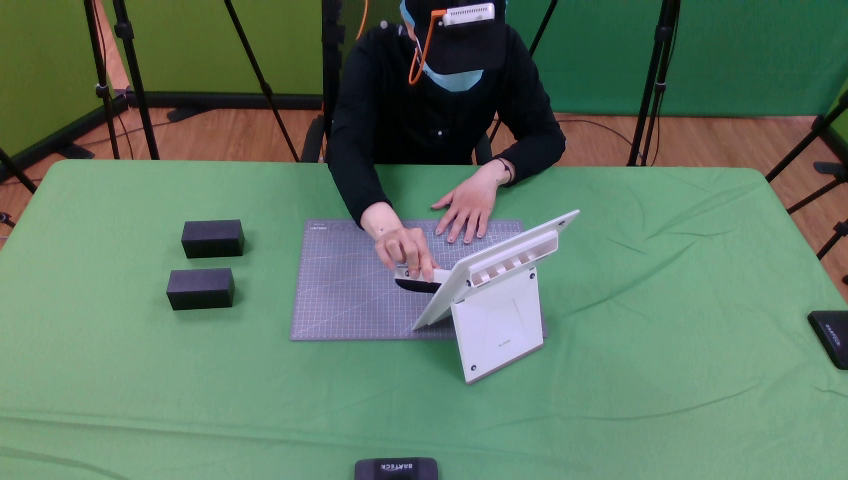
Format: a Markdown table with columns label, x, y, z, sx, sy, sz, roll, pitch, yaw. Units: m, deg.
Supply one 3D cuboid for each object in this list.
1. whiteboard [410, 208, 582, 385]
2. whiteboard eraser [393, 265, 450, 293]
| label | x | y | z | sx | sy | sz | roll | pitch | yaw |
| --- | --- | --- | --- | --- | --- | --- | --- | --- | --- |
| whiteboard | 0.132 | 0.109 | 0.945 | 0.217 | 0.306 | 0.143 | -21 | 72 | -22 |
| whiteboard eraser | 0.009 | 0.064 | 0.979 | 0.112 | 0.056 | 0.041 | 2 | 80 | 31 |
